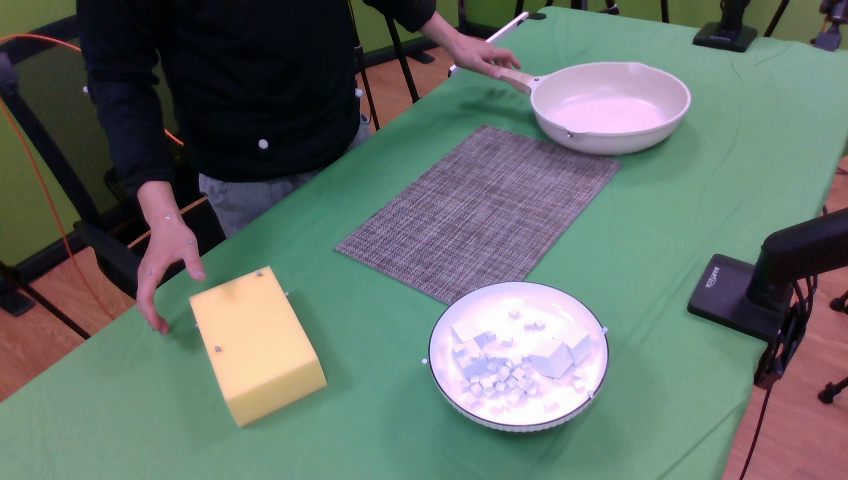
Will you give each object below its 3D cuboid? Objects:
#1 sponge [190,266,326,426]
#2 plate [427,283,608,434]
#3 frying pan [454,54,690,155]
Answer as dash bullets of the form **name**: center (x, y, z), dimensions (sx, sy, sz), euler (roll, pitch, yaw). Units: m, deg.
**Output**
- **sponge**: center (-0.228, 0.134, 0.815), dimensions (0.119, 0.061, 0.205), euler (-23, 43, -19)
- **plate**: center (0.108, 0.137, 0.708), dimensions (0.207, 0.039, 0.206), euler (-4, 42, 4)
- **frying pan**: center (0.270, -0.298, 1.211), dimensions (0.485, 0.103, 0.307), euler (27, 49, 24)
